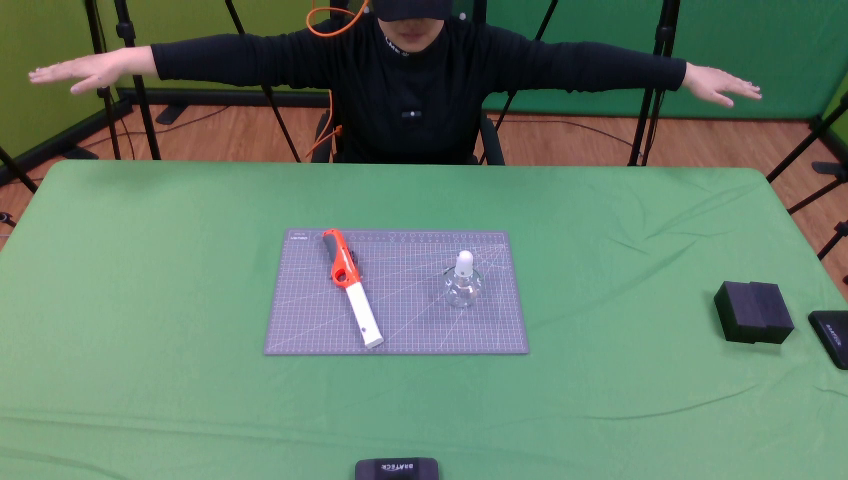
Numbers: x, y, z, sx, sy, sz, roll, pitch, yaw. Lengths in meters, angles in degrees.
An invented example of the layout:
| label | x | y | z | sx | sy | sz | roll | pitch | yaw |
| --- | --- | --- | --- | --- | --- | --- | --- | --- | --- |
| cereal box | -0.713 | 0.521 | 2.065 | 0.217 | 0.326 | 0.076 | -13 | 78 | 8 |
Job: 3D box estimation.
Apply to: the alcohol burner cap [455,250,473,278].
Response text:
| label | x | y | z | sx | sy | sz | roll | pitch | yaw |
| --- | --- | --- | --- | --- | --- | --- | --- | --- | --- |
| alcohol burner cap | 0.070 | 0.040 | 1.048 | 0.034 | 0.048 | 0.033 | 1 | 43 | 0 |

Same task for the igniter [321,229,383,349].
| label | x | y | z | sx | sy | sz | roll | pitch | yaw |
| --- | --- | --- | --- | --- | --- | --- | --- | --- | --- |
| igniter | -0.134 | 0.078 | 1.102 | 0.057 | 0.025 | 0.274 | -28 | 53 | 0 |

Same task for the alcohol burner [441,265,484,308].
| label | x | y | z | sx | sy | sz | roll | pitch | yaw |
| --- | --- | --- | --- | --- | --- | --- | --- | --- | --- |
| alcohol burner | 0.069 | 0.064 | 1.075 | 0.078 | 0.120 | 0.077 | 1 | 45 | -1 |
